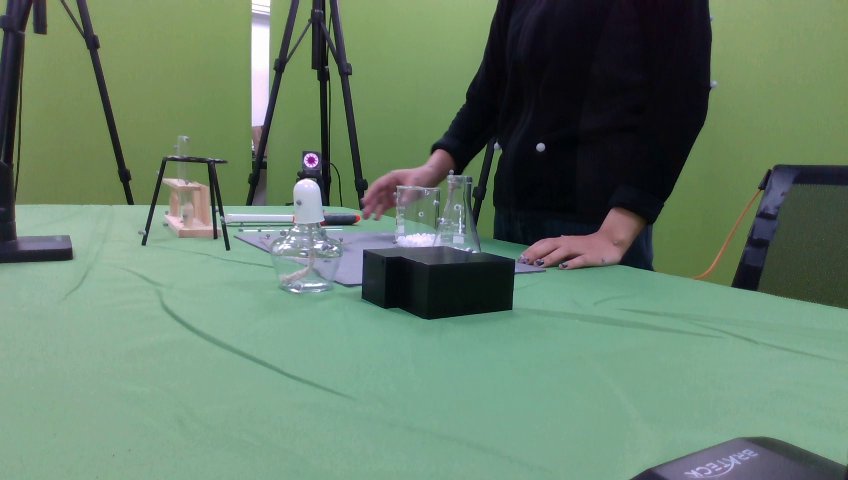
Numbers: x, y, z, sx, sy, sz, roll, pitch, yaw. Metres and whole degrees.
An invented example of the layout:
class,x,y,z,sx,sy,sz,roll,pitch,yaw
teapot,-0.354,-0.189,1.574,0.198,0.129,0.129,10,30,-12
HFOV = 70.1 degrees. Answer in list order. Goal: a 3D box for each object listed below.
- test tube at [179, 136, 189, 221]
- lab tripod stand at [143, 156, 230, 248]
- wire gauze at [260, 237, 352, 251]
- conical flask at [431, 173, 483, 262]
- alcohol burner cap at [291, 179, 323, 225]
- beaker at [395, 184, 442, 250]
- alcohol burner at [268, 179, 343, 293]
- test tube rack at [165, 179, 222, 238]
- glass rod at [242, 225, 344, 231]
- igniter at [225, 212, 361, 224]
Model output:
class,x,y,z,sx,sy,sz,roll,pitch,yaw
test tube,-0.425,-0.108,1.070,0.017,0.150,0.017,4,9,0
lab tripod stand,-0.338,-0.058,0.908,0.148,0.131,0.148,4,7,0
wire gauze,-0.185,0.004,0.938,0.122,0.011,0.124,-1,5,-24
conical flask,0.049,-0.033,0.857,0.075,0.122,0.075,2,7,0
alcohol burner cap,-0.124,-0.040,0.632,0.034,0.048,0.034,-3,10,1
beaker,-0.009,-0.038,0.968,0.074,0.100,0.084,6,8,21
alcohol burner,-0.124,-0.005,0.637,0.078,0.119,0.078,4,8,0
test tube rack,-0.423,-0.062,1.098,0.067,0.085,0.241,-2,9,-28
glass rod,-0.246,-0.024,1.154,0.201,0.008,0.008,-3,8,-31
igniter,-0.262,-0.044,1.240,0.278,0.025,0.057,-2,-1,-31
